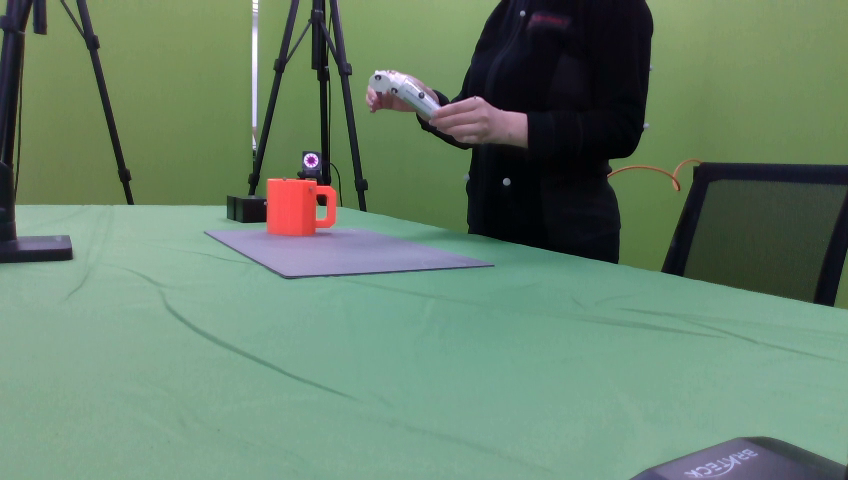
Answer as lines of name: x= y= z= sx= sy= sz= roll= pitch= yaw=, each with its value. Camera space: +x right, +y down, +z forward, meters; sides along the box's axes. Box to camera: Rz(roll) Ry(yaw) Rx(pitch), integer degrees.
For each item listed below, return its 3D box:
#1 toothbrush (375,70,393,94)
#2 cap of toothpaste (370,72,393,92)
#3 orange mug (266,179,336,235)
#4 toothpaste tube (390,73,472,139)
toothbrush: x=-0.064 y=-0.268 z=1.032 sx=0.016 sy=0.014 sz=0.182 roll=-11 pitch=5 yaw=4
cap of toothpaste: x=-0.066 y=-0.248 z=0.941 sx=0.037 sy=0.011 sz=0.037 roll=-4 pitch=-35 yaw=-3
orange mug: x=-0.222 y=-0.062 z=1.094 sx=0.127 sy=0.101 sz=0.083 roll=-5 pitch=10 yaw=-22
toothpaste tube: x=0.010 y=-0.216 z=0.981 sx=0.165 sy=0.034 sz=0.055 roll=32 pitch=20 yaw=-17
